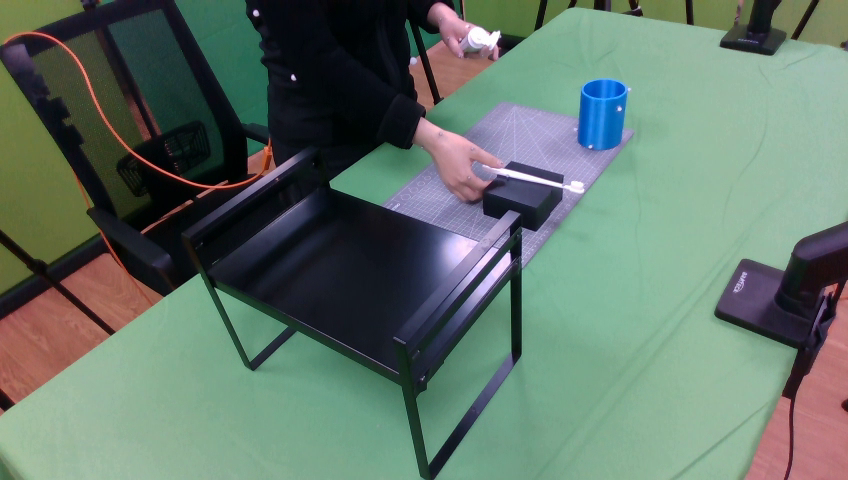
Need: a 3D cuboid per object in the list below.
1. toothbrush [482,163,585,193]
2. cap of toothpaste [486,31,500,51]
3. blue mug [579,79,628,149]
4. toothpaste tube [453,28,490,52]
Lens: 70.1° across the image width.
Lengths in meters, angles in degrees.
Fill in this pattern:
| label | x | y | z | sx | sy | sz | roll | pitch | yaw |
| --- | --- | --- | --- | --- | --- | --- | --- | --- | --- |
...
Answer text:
| label | x | y | z | sx | sy | sz | roll | pitch | yaw |
| --- | --- | --- | --- | --- | --- | --- | --- | --- | --- |
| toothbrush | 0.178 | -0.105 | 0.997 | 0.180 | 0.017 | 0.014 | 17 | 53 | 26 |
| cap of toothpaste | 0.119 | -0.347 | 1.049 | 0.011 | 0.037 | 0.037 | 24 | 39 | -16 |
| blue mug | 0.336 | -0.246 | 1.143 | 0.082 | 0.106 | 0.116 | 0 | 41 | 10 |
| toothpaste tube | 0.094 | -0.368 | 1.134 | 0.055 | 0.034 | 0.164 | 2 | 9 | -7 |
